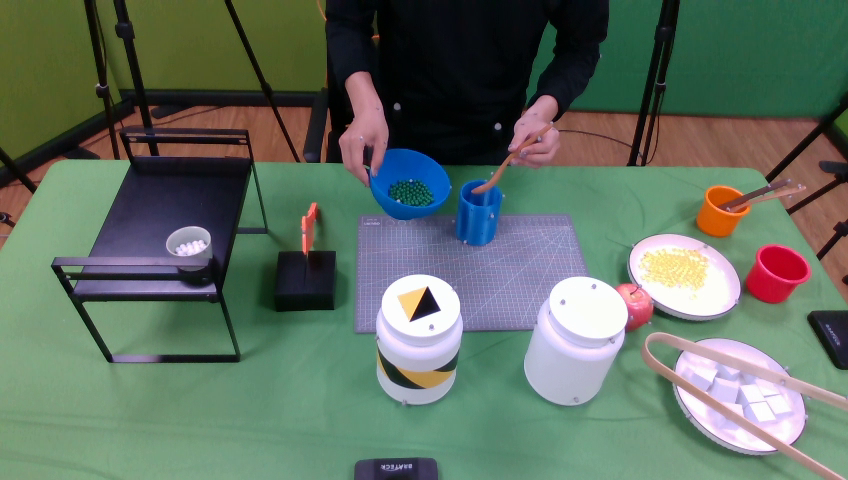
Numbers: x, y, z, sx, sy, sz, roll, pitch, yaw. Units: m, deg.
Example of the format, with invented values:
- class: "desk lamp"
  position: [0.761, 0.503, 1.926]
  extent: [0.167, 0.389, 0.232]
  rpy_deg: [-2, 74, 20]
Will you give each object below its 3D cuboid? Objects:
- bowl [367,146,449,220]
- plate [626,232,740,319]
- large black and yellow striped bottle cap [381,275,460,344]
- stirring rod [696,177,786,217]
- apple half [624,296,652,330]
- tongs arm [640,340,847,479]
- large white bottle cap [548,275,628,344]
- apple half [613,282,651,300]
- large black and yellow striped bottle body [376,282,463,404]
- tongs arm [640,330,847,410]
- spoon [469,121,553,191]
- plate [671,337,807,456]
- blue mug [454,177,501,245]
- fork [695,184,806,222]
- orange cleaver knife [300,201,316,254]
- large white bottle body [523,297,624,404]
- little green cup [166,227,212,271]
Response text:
- class: "bowl"
  position: [-0.037, -0.090, 1.100]
  extent: [0.152, 0.077, 0.150]
  rpy_deg: [11, 48, -13]
- class: "plate"
  position: [0.488, 0.070, 1.157]
  extent: [0.209, 0.038, 0.208]
  rpy_deg: [3, 46, -3]
- class: "large black and yellow striped bottle cap"
  position: [-0.005, 0.098, 0.875]
  extent: [0.115, 0.019, 0.114]
  rpy_deg: [2, 45, -2]
- class: "stirring rod"
  position: [0.648, -0.087, 1.244]
  extent: [0.176, 0.006, 0.014]
  rpy_deg: [-25, 50, 29]
- class: "apple half"
  position: [0.368, 0.135, 1.060]
  extent: [0.081, 0.081, 0.032]
  rpy_deg: [-11, 43, -15]
- class: "tongs arm"
  position: [0.500, 0.277, 0.919]
  extent: [0.386, 0.028, 0.028]
  rpy_deg: [34, 59, 22]
- class: "large white bottle cap"
  position: [0.240, 0.100, 0.890]
  extent: [0.115, 0.018, 0.114]
  rpy_deg: [3, 47, -3]
- class: "apple half"
  position: [0.356, 0.109, 1.086]
  extent: [0.081, 0.075, 0.053]
  rpy_deg: [-13, 44, -12]
- class: "large black and yellow striped bottle body"
  position: [-0.010, 0.155, 0.937]
  extent: [0.131, 0.185, 0.130]
  rpy_deg: [2, 47, -2]
- class: "tongs arm"
  position: [0.543, 0.225, 0.969]
  extent: [0.384, 0.026, 0.050]
  rpy_deg: [22, 52, 13]
- class: "spoon"
  position: [0.146, -0.141, 1.039]
  extent: [0.021, 0.194, 0.041]
  rpy_deg: [48, 35, 4]
- class: "plate"
  position: [0.504, 0.254, 0.984]
  extent: [0.208, 0.039, 0.206]
  rpy_deg: [2, 46, -2]
- class: "blue mug"
  position: [0.106, -0.067, 1.208]
  extent: [0.082, 0.106, 0.116]
  rpy_deg: [6, 46, 1]
- class: "fork"
  position: [0.658, -0.074, 1.230]
  extent: [0.207, 0.019, 0.028]
  rpy_deg: [-24, 34, 36]
- class: "orange cleaver knife"
  position: [-0.221, -0.027, 1.161]
  extent: [0.012, 0.077, 0.210]
  rpy_deg: [-1, 15, -4]
- class: "large white bottle body"
  position: [0.235, 0.159, 0.952]
  extent: [0.131, 0.185, 0.130]
  rpy_deg: [2, 47, -2]
- class: "little green cup"
  position: [-0.344, 0.014, 0.895]
  extent: [0.061, 0.039, 0.061]
  rpy_deg: [3, 46, -3]
